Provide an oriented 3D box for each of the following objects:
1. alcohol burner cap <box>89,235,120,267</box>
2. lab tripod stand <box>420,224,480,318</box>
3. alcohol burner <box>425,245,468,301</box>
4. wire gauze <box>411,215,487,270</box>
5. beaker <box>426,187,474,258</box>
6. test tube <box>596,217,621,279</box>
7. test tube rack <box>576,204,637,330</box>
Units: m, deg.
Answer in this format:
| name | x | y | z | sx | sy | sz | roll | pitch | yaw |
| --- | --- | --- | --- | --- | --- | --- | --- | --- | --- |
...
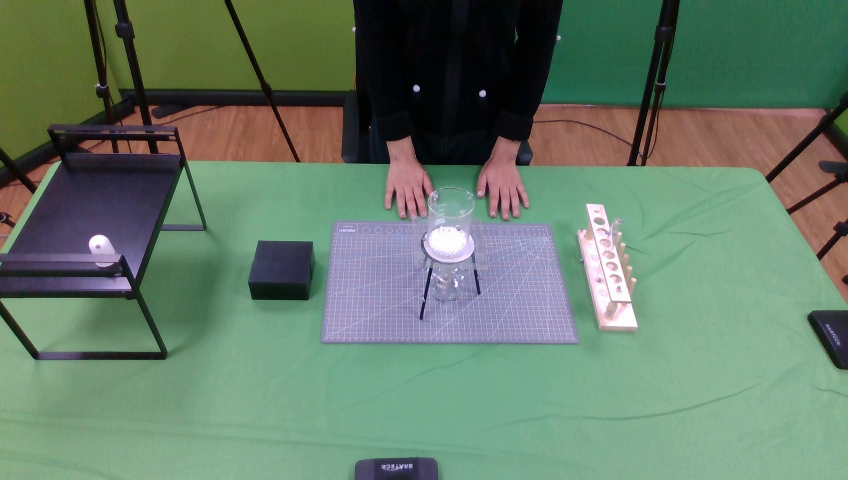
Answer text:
| name | x | y | z | sx | sy | sz | roll | pitch | yaw |
| --- | --- | --- | --- | --- | --- | --- | --- | --- | --- |
| alcohol burner cap | -0.469 | 0.013 | 0.885 | 0.034 | 0.048 | 0.033 | 1 | 47 | -1 |
| lab tripod stand | 0.034 | 0.052 | 1.071 | 0.148 | 0.132 | 0.147 | 3 | 48 | -3 |
| alcohol burner | 0.040 | 0.053 | 1.083 | 0.078 | 0.120 | 0.077 | 1 | 47 | -1 |
| wire gauze | 0.041 | 0.003 | 1.026 | 0.125 | 0.011 | 0.120 | 0 | 46 | -1 |
| beaker | 0.042 | -0.027 | 0.989 | 0.084 | 0.101 | 0.073 | -27 | 53 | -26 |
| test tube | 0.331 | 0.018 | 1.094 | 0.017 | 0.151 | 0.017 | 0 | 45 | 0 |
| test tube rack | 0.348 | 0.045 | 1.139 | 0.067 | 0.085 | 0.241 | 2 | 46 | -2 |
